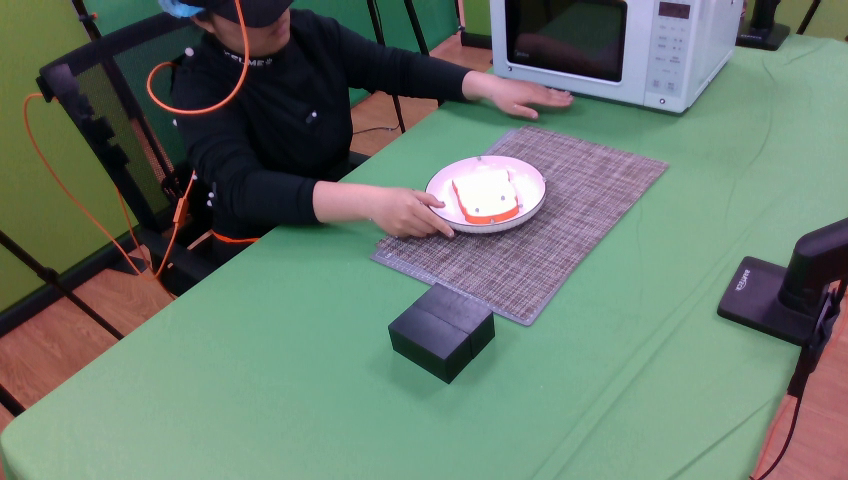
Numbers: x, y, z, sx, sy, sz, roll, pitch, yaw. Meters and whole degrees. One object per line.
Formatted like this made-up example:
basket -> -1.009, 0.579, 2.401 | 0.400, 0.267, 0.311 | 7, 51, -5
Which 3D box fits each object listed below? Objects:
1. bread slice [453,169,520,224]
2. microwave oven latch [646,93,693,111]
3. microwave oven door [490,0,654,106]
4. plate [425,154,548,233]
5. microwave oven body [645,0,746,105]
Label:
bread slice -> 0.112, -0.076, 1.040 | 0.105, 0.019, 0.130 | -11, 40, -1
microwave oven latch -> 0.477, -0.273, 1.177 | 0.078, 0.029, 0.030 | 22, 50, 33
microwave oven door -> 0.293, -0.420, 1.228 | 0.353, 0.245, 0.039 | 22, 49, 32
plate -> 0.108, -0.076, 1.038 | 0.209, 0.038, 0.208 | -5, 39, 5
microwave oven body -> 0.417, -0.486, 1.290 | 0.438, 0.261, 0.327 | 22, 50, 33
